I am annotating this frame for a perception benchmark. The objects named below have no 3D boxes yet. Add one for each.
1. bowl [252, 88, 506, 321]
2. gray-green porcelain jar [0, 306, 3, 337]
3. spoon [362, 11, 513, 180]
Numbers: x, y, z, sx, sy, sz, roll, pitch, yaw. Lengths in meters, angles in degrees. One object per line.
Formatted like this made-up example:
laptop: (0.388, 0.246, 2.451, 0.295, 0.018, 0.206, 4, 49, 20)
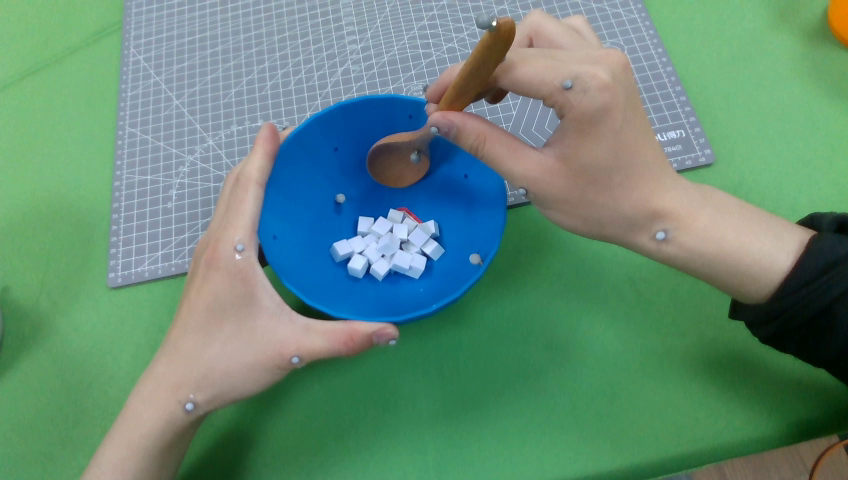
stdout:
bowl: (-0.025, -0.013, 0.392, 0.151, 0.077, 0.150, -1, 69, 2)
gray-green porcelain jar: (-0.348, 0.049, 0.377, 0.106, 0.127, 0.105, -2, 65, 5)
spoon: (0.003, -0.067, 0.327, 0.042, 0.193, 0.021, 19, 76, -15)
